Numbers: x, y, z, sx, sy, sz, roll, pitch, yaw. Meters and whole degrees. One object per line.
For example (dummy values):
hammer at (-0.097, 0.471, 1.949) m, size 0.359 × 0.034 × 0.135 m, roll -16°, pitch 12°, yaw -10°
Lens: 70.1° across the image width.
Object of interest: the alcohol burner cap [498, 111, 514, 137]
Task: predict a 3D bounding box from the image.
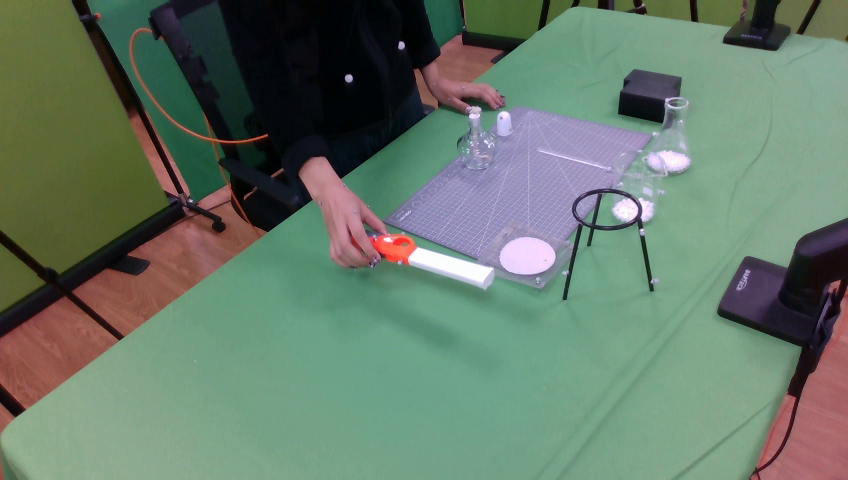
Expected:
alcohol burner cap at (0.163, -0.235, 1.211) m, size 0.034 × 0.048 × 0.033 m, roll -6°, pitch 40°, yaw 6°

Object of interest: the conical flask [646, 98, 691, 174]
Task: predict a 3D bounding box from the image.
conical flask at (0.426, -0.180, 1.037) m, size 0.075 × 0.122 × 0.075 m, roll -5°, pitch 40°, yaw 5°

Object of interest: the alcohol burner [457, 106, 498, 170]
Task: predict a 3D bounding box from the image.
alcohol burner at (0.097, -0.191, 1.117) m, size 0.078 × 0.119 × 0.077 m, roll -7°, pitch 39°, yaw 6°

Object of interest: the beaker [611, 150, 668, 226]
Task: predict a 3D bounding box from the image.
beaker at (0.337, -0.079, 0.953) m, size 0.083 × 0.101 × 0.074 m, roll 25°, pitch 51°, yaw 33°

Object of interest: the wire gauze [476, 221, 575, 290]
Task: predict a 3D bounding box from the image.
wire gauze at (0.158, 0.024, 0.933) m, size 0.120 × 0.011 × 0.125 m, roll 21°, pitch 49°, yaw 31°

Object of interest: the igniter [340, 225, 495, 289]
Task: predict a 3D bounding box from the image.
igniter at (-0.021, 0.020, 0.874) m, size 0.274 × 0.025 × 0.057 m, roll 16°, pitch 48°, yaw 35°

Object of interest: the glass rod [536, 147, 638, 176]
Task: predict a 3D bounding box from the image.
glass rod at (0.294, -0.145, 1.104) m, size 0.198 × 0.008 × 0.008 m, roll 22°, pitch 50°, yaw 31°

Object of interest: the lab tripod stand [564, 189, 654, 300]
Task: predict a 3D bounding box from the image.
lab tripod stand at (0.251, 0.003, 0.845) m, size 0.148 × 0.132 × 0.147 m, roll -7°, pitch 39°, yaw 6°
